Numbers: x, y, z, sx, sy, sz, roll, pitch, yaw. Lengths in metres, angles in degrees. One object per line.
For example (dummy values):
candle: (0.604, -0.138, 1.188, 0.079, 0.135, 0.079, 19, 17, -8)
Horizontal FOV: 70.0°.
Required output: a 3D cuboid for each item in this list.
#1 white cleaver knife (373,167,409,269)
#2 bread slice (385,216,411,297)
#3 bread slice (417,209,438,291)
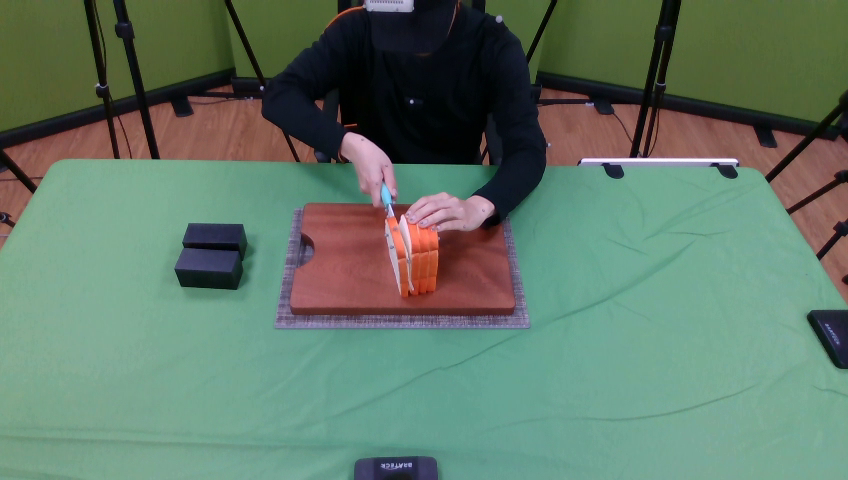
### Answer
white cleaver knife: (-0.063, -0.041, 1.125, 0.021, 0.066, 0.284, -7, 42, -11)
bread slice: (-0.047, 0.022, 1.057, 0.019, 0.132, 0.104, -14, 48, -8)
bread slice: (0.006, 0.013, 1.070, 0.018, 0.135, 0.106, -6, 50, -10)
